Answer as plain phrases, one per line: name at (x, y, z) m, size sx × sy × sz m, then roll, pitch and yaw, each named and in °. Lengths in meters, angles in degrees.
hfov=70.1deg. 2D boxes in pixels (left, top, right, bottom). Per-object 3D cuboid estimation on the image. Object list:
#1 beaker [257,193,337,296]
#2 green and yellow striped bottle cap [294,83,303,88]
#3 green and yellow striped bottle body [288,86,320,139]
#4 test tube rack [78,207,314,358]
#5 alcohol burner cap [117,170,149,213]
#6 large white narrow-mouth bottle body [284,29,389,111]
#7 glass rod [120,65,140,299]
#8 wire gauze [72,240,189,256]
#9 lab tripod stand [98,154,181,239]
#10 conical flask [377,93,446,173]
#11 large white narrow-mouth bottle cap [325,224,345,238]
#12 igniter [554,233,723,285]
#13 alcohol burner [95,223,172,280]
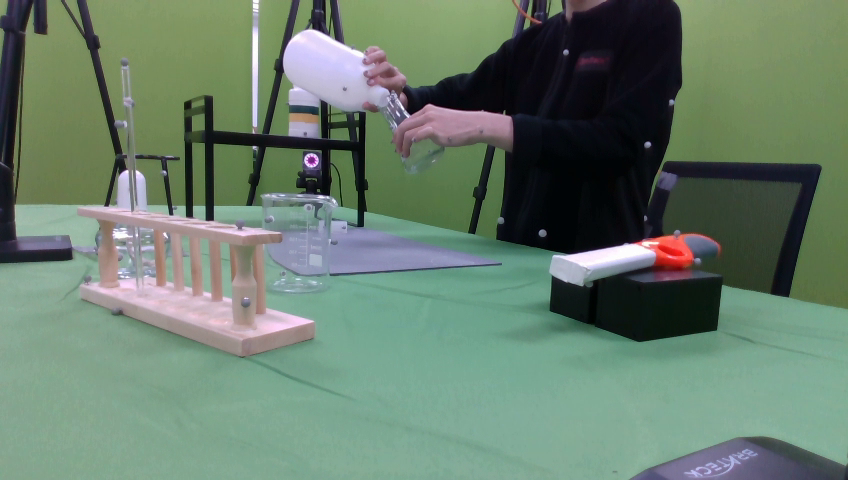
beaker at (-0.130, 0.003, 0.628) m, size 0.084 × 0.100 × 0.074 m, roll 5°, pitch 8°, yaw 15°
green and yellow striped bottle cap at (-0.248, -0.324, 1.256) m, size 0.045 × 0.020 × 0.045 m, roll 3°, pitch 9°, yaw 0°
green and yellow striped bottle body at (-0.250, -0.272, 1.261) m, size 0.063 × 0.119 × 0.063 m, roll 3°, pitch 7°, yaw 0°
test tube rack at (-0.196, 0.024, 0.500) m, size 0.241 × 0.085 × 0.067 m, roll 8°, pitch 8°, yaw 37°
alcohol burner cap at (-0.320, -0.052, 0.661) m, size 0.034 × 0.048 × 0.034 m, roll -3°, pitch 0°, yaw 0°
large white narrow-mouth bottle body at (-0.135, -0.270, 0.999) m, size 0.194 × 0.101 × 0.102 m, roll 34°, pitch 23°, yaw 26°
glass rod at (-0.249, -0.047, 0.513) m, size 0.008 × 0.199 × 0.008 m, roll -1°, pitch 4°, yaw 0°
wire gauze at (-0.399, 0.013, 0.820) m, size 0.126 × 0.011 × 0.121 m, roll -3°, pitch 8°, yaw -37°
lab tripod stand at (-0.427, -0.066, 0.942) m, size 0.148 × 0.131 × 0.148 m, roll 1°, pitch 6°, yaw 0°
conical flask at (-0.026, -0.172, 0.951) m, size 0.075 × 0.121 × 0.075 m, roll -33°, pitch -7°, yaw -4°
large white narrow-mouth bottle cap at (-0.160, -0.017, 1.090) m, size 0.038 × 0.024 × 0.037 m, roll 3°, pitch 9°, yaw 0°
igniter at (0.214, 0.015, 0.570) m, size 0.278 × 0.025 × 0.057 m, roll -5°, pitch 22°, yaw -44°
alcohol burner at (-0.320, -0.017, 0.667) m, size 0.078 × 0.119 × 0.078 m, roll 0°, pitch 7°, yaw 0°
